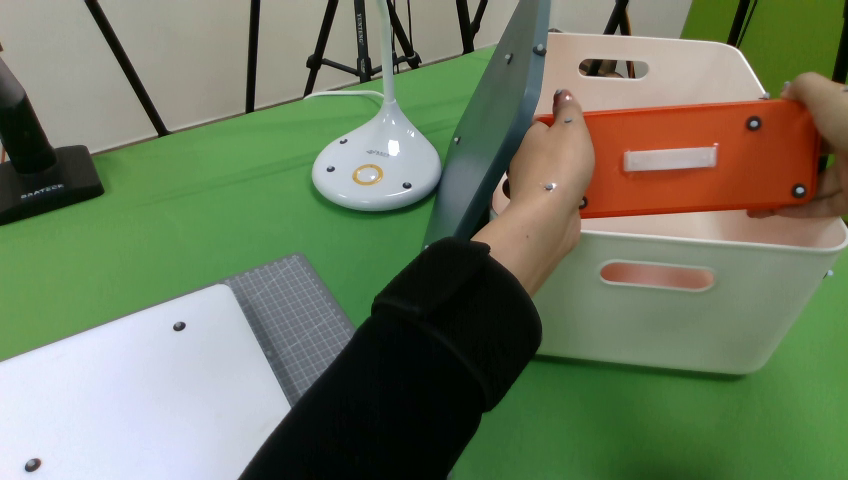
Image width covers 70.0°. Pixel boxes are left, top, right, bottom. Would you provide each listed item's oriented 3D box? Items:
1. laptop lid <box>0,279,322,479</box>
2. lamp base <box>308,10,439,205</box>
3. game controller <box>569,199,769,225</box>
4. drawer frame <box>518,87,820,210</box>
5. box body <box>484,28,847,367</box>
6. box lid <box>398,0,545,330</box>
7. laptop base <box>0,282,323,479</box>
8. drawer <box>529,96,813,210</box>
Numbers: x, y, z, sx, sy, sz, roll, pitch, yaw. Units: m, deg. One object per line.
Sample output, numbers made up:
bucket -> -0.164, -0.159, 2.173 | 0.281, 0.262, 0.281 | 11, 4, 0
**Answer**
laptop lid -> -0.279, 0.161, 0.437 | 0.357, 0.013, 0.239 | -21, 47, -22
lamp base -> -0.061, -0.160, 0.705 | 0.160, 0.182, 0.177 | 4, 39, 6
game controller -> 0.190, -0.061, 0.492 | 0.155, 0.052, 0.096 | -7, 41, 3
drawer frame -> 0.186, -0.083, 0.532 | 0.201, 0.083, 0.213 | -3, 10, 6
box body -> 0.194, -0.061, 0.604 | 0.254, 0.162, 0.361 | 4, 41, 6
box lid -> 0.053, -0.110, 0.595 | 0.015, 0.264, 0.368 | 22, 41, -6
laptop base -> -0.280, 0.169, 0.446 | 0.355, 0.023, 0.233 | -22, 49, -23
drawer -> 0.185, -0.082, 0.531 | 0.194, 0.073, 0.211 | -4, 12, 7
